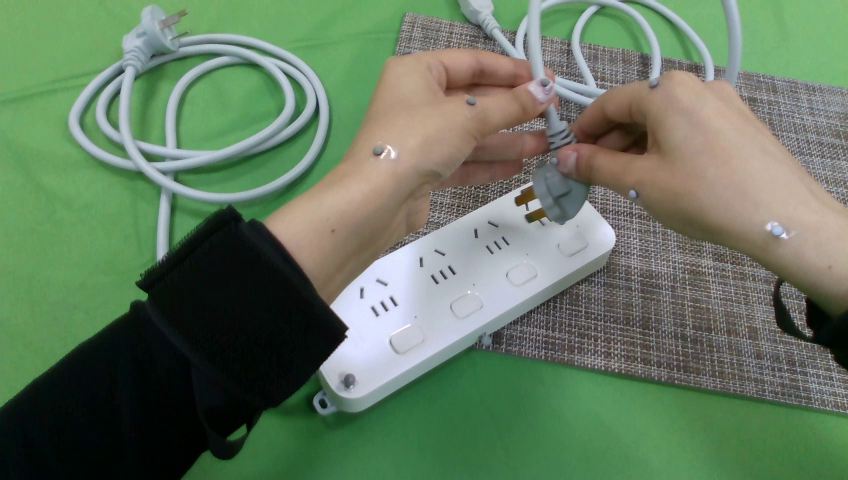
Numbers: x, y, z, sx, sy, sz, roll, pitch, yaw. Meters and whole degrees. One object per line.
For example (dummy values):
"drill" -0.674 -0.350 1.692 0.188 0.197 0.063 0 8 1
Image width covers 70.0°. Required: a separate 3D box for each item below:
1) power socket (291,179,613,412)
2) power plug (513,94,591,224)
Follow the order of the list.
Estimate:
"power socket" 0.022 0.025 0.383 0.227 0.033 0.071 -27 65 -19
"power plug" 0.070 -0.044 0.359 0.035 0.052 0.072 -27 91 -56
